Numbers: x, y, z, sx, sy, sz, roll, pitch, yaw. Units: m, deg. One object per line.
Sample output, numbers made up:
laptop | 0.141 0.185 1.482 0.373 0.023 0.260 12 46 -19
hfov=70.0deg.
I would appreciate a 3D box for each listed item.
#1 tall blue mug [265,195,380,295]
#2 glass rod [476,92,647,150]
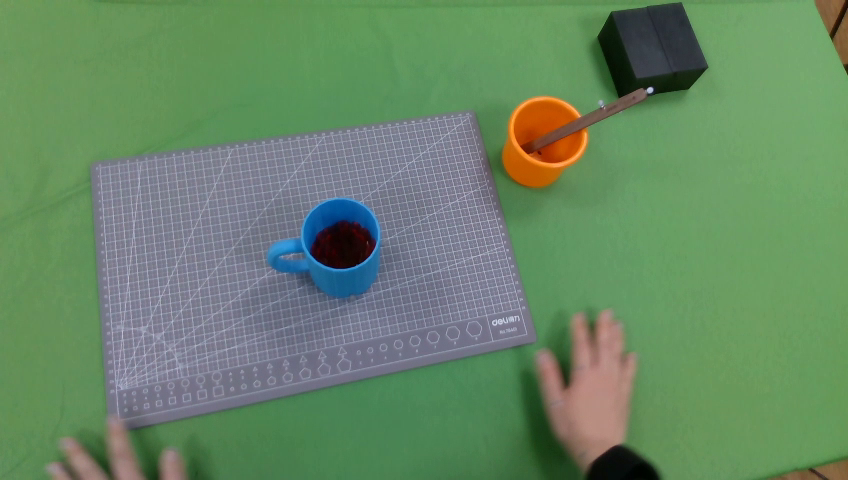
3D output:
tall blue mug | -0.099 0.016 0.623 0.107 0.108 0.077 -34 79 -16
glass rod | 0.151 -0.133 0.689 0.199 0.008 0.008 -15 70 25
